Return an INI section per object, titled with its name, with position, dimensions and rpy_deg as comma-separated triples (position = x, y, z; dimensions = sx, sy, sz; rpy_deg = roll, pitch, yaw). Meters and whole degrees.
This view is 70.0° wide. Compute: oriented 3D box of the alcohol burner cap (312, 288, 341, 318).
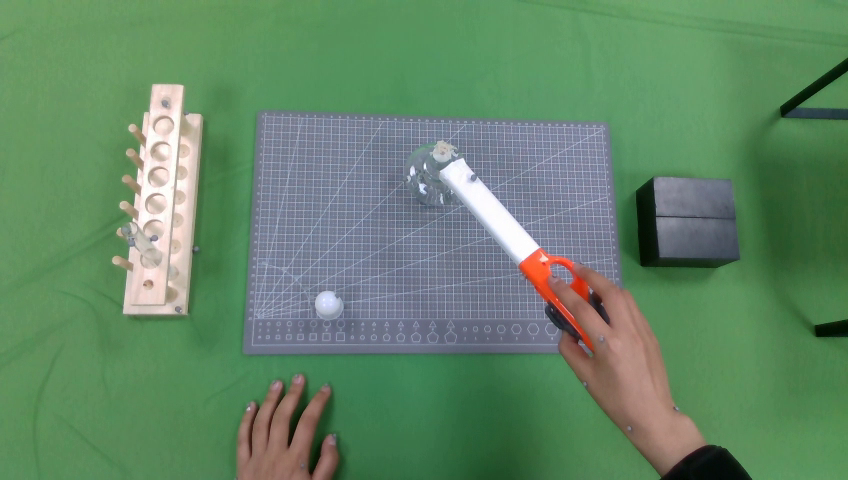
[alcohol burner cap]
position = -0.111, 0.069, 0.684
dimensions = 0.034, 0.048, 0.033
rpy_deg = 2, 77, -7

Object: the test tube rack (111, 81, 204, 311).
[test tube rack]
position = -0.299, -0.046, 0.672
dimensions = 0.067, 0.085, 0.241
rpy_deg = 1, 76, -5

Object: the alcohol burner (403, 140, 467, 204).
[alcohol burner]
position = 0.015, -0.084, 0.697
dimensions = 0.078, 0.119, 0.077
rpy_deg = 1, 77, -4

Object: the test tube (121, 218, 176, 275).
[test tube]
position = -0.274, 0.010, 0.610
dimensions = 0.017, 0.151, 0.017
rpy_deg = 3, 71, -8

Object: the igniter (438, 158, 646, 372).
[igniter]
position = 0.113, 0.024, 0.606
dimensions = 0.057, 0.025, 0.275
rpy_deg = -37, 76, -16
